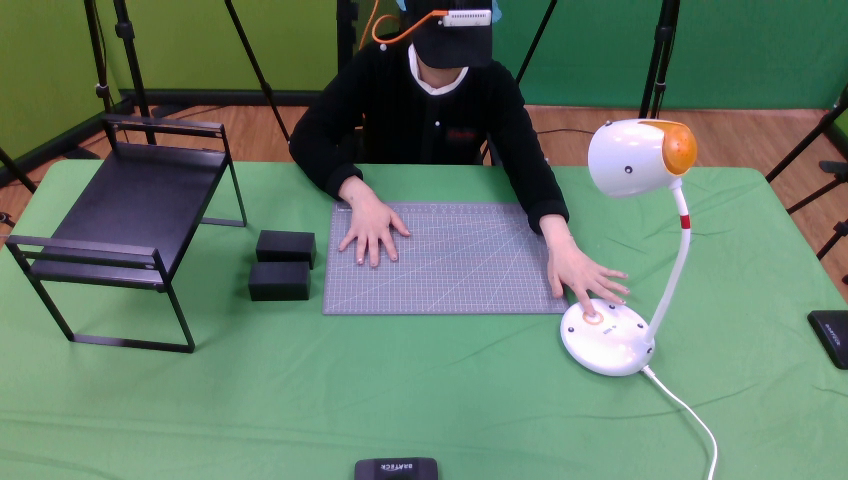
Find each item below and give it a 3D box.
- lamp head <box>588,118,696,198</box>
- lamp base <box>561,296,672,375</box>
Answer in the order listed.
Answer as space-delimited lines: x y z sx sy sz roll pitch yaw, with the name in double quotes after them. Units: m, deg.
0.304 -0.113 0.823 0.112 0.112 0.122 -26 16 -25 "lamp head"
0.332 0.119 0.995 0.160 0.181 0.178 -34 59 -30 "lamp base"
